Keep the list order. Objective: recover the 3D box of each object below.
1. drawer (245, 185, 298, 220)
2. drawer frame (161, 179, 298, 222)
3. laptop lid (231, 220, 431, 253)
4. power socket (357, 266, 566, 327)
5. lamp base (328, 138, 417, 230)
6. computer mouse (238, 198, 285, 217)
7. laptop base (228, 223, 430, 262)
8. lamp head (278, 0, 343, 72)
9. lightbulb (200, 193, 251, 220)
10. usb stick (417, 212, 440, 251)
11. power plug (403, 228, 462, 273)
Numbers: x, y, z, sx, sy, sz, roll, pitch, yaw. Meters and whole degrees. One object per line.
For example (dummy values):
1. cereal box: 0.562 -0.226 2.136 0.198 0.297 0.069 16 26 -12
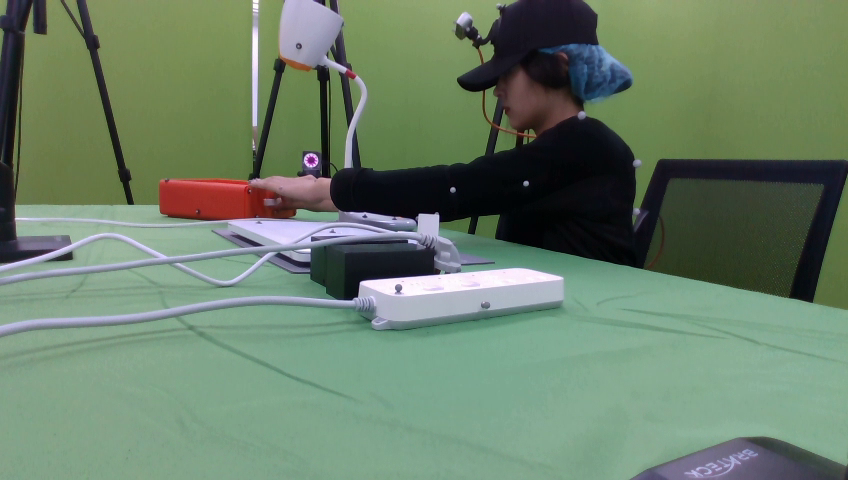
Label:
1. drawer: -0.416 -0.087 1.330 0.211 0.073 0.195 4 8 18
2. drawer frame: -0.420 -0.089 1.328 0.213 0.082 0.202 4 8 18
3. laptop lid: -0.142 -0.009 0.942 0.243 0.013 0.355 1 7 -31
4. power socket: 0.042 0.049 0.573 0.228 0.032 0.072 -3 8 -34
5. lamp base: -0.103 -0.113 1.212 0.180 0.180 0.160 -2 6 -13
6. computer mouse: -0.354 -0.072 1.326 0.063 0.041 0.117 3 3 12
7. laptop base: -0.145 0.003 0.943 0.237 0.023 0.352 2 6 -32
8. lamp head: -0.218 -0.376 1.128 0.112 0.123 0.112 17 10 -3
9. lightbulb: -0.433 -0.079 1.320 0.108 0.059 0.059 -17 13 -17
10. usb stick: 0.005 -0.004 0.722 0.027 0.059 0.021 0 -3 -3
11. power plug: 0.006 0.016 0.647 0.073 0.052 0.035 17 12 -6
